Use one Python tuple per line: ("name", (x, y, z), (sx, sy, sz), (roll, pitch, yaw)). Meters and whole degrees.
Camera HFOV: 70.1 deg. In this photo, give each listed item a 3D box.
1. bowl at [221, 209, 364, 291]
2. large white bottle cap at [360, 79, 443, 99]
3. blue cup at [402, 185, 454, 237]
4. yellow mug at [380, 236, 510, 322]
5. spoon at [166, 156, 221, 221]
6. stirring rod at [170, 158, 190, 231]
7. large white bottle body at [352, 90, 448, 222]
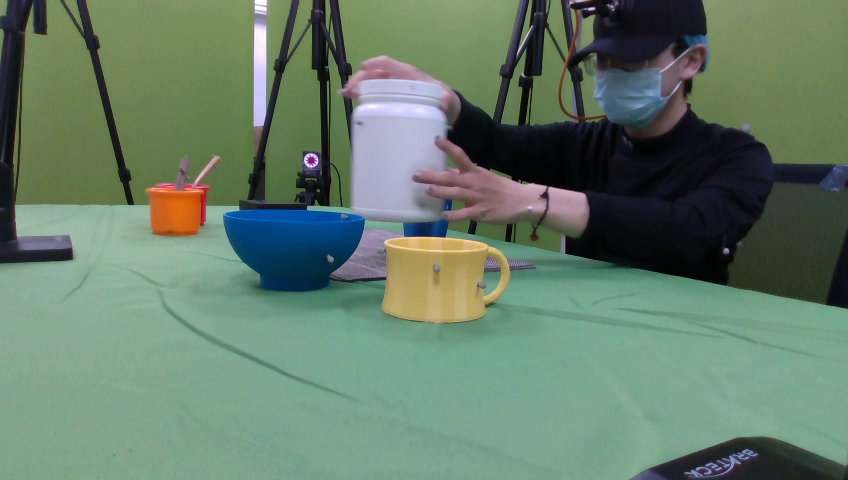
("bowl", (-0.142, 0.011, 0.660), (0.151, 0.077, 0.151), (2, 7, 0))
("large white bottle cap", (-0.031, -0.205, 0.833), (0.115, 0.018, 0.115), (1, 6, 0))
("blue cup", (0.003, -0.038, 0.966), (0.093, 0.100, 0.092), (4, 9, 0))
("yellow mug", (0.024, 0.034, 0.575), (0.131, 0.064, 0.099), (1, 7, -22))
("spoon", (-0.447, -0.104, 1.192), (0.041, 0.022, 0.193), (7, 52, 14))
("stirring rod", (-0.426, -0.083, 1.059), (0.014, 0.006, 0.175), (1, 49, -13))
("large white bottle body", (-0.033, -0.121, 0.844), (0.131, 0.184, 0.130), (2, 7, 0))
